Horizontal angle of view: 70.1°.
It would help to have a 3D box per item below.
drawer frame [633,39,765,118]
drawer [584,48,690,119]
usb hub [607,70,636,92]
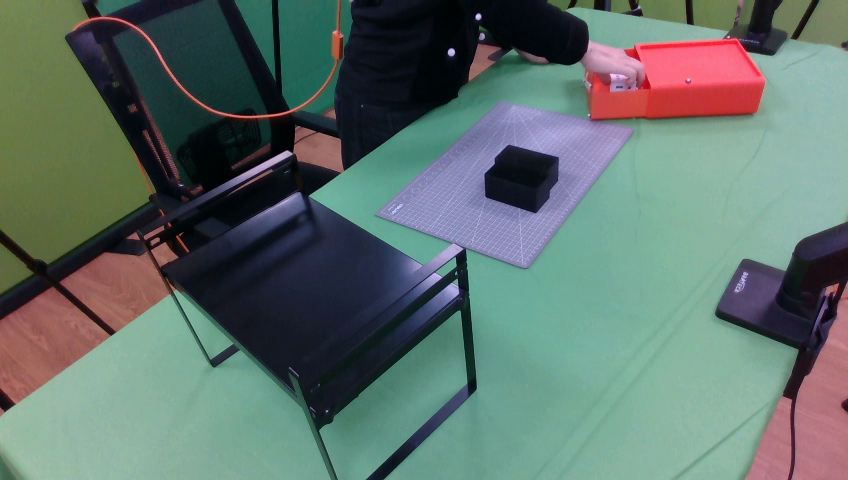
[{"bbox_3d":[0.544,-0.332,1.233,0.213,0.083,0.201,-1,40,6],"label":"drawer frame"},{"bbox_3d":[0.442,-0.330,1.249,0.211,0.073,0.194,0,41,9],"label":"drawer"},{"bbox_3d":[0.408,-0.328,1.250,0.049,0.025,0.125,5,27,10],"label":"usb hub"}]
